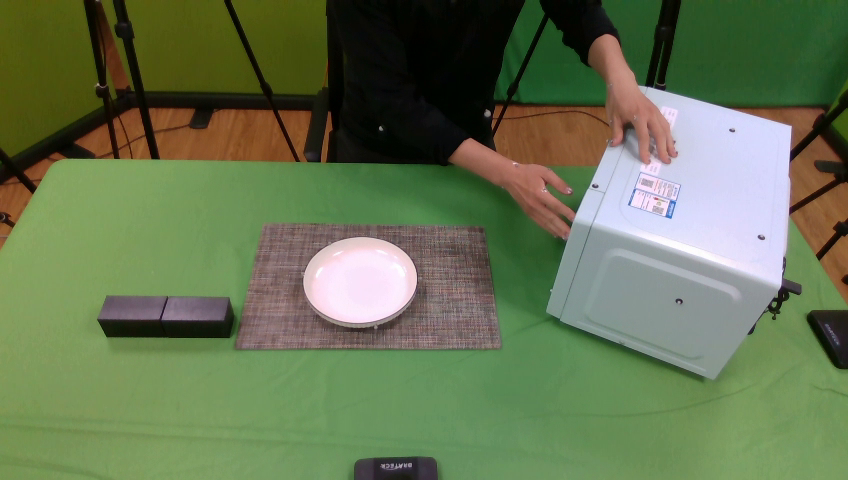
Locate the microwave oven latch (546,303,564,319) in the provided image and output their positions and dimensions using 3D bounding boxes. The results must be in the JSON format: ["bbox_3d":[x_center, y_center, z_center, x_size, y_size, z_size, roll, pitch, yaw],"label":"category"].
[{"bbox_3d":[0.242,0.102,1.081,0.030,0.029,0.079,21,48,17],"label":"microwave oven latch"}]

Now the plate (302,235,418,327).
[{"bbox_3d":[-0.114,0.077,1.098,0.208,0.039,0.206,2,46,-2],"label":"plate"}]

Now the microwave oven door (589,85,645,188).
[{"bbox_3d":[0.342,-0.107,1.149,0.039,0.245,0.354,20,48,15],"label":"microwave oven door"}]

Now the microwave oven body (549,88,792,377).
[{"bbox_3d":[0.456,-0.028,1.088,0.325,0.261,0.440,20,47,16],"label":"microwave oven body"}]
